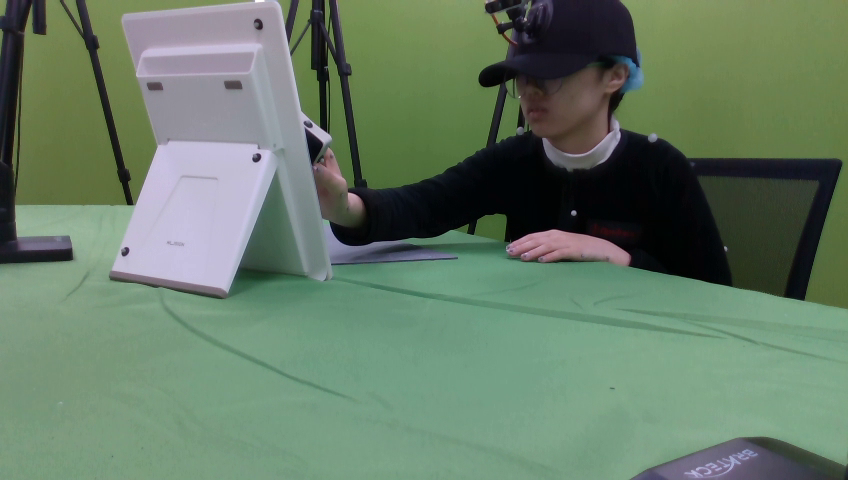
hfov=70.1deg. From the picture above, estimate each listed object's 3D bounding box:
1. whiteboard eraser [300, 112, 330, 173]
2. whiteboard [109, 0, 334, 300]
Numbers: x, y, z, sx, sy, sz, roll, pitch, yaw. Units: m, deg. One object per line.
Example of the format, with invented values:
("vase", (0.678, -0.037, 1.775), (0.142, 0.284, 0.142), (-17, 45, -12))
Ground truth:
("whiteboard eraser", (-0.152, -0.086, 0.675), (0.055, 0.112, 0.042), (37, 39, 0))
("whiteboard", (-0.247, -0.072, 0.624), (0.216, 0.305, 0.144), (6, 28, 26))
